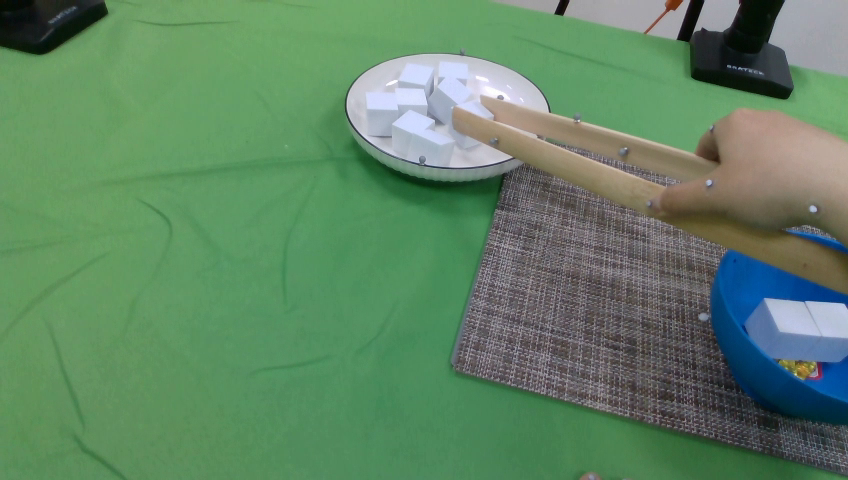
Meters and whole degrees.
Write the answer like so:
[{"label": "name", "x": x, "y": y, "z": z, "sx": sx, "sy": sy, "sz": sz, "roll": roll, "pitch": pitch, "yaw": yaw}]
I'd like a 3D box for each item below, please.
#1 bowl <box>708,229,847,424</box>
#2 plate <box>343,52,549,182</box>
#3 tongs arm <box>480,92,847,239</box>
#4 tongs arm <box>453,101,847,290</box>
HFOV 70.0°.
[{"label": "bowl", "x": 0.267, "y": 0.071, "z": 0.428, "sx": 0.151, "sy": 0.077, "sz": 0.150, "roll": 3, "pitch": 46, "yaw": -3}, {"label": "plate", "x": 0.022, "y": -0.125, "z": 0.620, "sx": 0.209, "sy": 0.038, "sz": 0.207, "roll": 3, "pitch": 46, "yaw": -2}, {"label": "tongs arm", "x": 0.166, "y": -0.057, "z": 0.460, "sx": 0.051, "sy": 0.027, "sz": 0.381, "roll": -28, "pitch": 39, "yaw": -32}, {"label": "tongs arm", "x": 0.147, "y": -0.048, "z": 0.448, "sx": 0.028, "sy": 0.028, "sz": 0.383, "roll": -22, "pitch": 36, "yaw": -31}]
